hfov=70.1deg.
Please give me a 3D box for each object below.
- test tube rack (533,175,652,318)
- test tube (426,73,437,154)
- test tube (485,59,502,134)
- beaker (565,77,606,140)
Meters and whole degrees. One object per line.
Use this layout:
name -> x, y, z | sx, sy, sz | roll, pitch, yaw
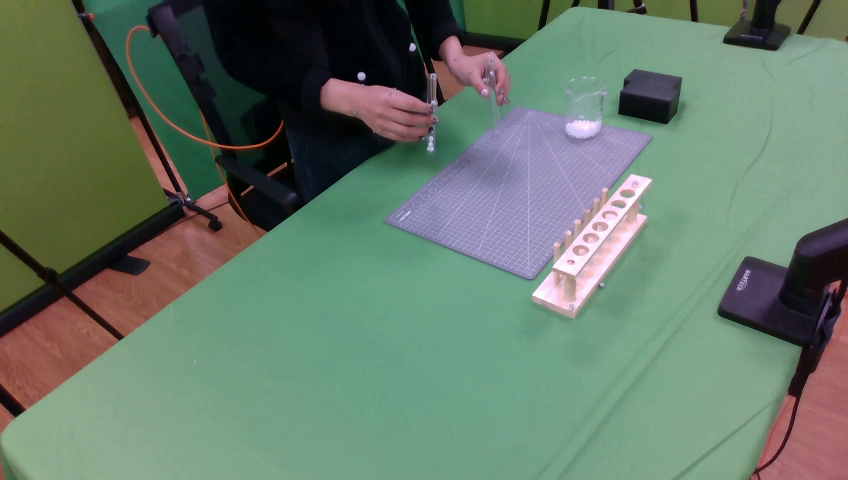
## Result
test tube rack -> 0.250, -0.001, 0.889 | 0.066, 0.085, 0.243 | 22, 49, 33
test tube -> 0.012, -0.209, 1.014 | 0.017, 0.151, 0.017 | 1, 42, 0
test tube -> 0.125, -0.254, 1.087 | 0.017, 0.151, 0.017 | -8, 43, 8
beaker -> 0.304, -0.247, 1.153 | 0.073, 0.101, 0.084 | 15, 46, 27
